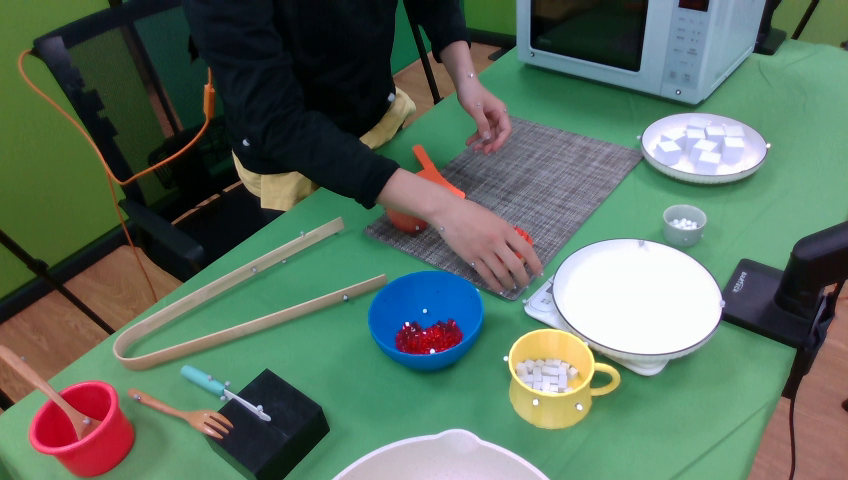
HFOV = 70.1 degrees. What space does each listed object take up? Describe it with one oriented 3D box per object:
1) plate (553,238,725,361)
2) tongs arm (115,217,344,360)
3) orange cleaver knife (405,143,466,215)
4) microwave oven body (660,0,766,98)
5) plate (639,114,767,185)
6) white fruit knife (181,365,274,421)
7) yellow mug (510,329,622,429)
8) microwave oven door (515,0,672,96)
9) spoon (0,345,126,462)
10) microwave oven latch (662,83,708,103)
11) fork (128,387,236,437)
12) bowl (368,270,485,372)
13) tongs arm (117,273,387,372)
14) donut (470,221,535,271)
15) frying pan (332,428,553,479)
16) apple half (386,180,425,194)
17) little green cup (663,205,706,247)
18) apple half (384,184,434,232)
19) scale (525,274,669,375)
[{"bbox_3d":[0.273,0.078,0.783,0.209,0.038,0.208,-4,41,4],"label":"plate"},{"bbox_3d":[-0.280,0.068,0.927,0.386,0.026,0.050,-29,49,-23],"label":"tongs arm"},{"bbox_3d":[0.005,-0.113,1.102,0.077,0.012,0.209,-23,45,-10],"label":"orange cleaver knife"},{"bbox_3d":[0.472,-0.513,1.317,0.438,0.261,0.327,26,51,34],"label":"microwave oven body"},{"bbox_3d":[0.489,-0.157,1.074,0.207,0.039,0.206,-4,40,4],"label":"plate"},{"bbox_3d":[-0.245,0.187,0.747,0.205,0.027,0.016,9,41,40],"label":"white fruit knife"},{"bbox_3d":[0.169,0.164,0.721,0.130,0.064,0.099,0,40,8],"label":"yellow mug"},{"bbox_3d":[0.344,-0.455,1.259,0.353,0.245,0.039,26,51,33],"label":"microwave oven door"},{"bbox_3d":[-0.434,0.192,0.720,0.194,0.021,0.042,47,53,-6],"label":"spoon"},{"bbox_3d":[0.517,-0.296,1.204,0.078,0.029,0.030,28,52,35],"label":"microwave oven latch"},{"bbox_3d":[-0.305,0.207,0.744,0.206,0.019,0.028,3,41,36],"label":"fork"},{"bbox_3d":[0.007,0.118,0.791,0.151,0.077,0.150,-4,40,4],"label":"bowl"},{"bbox_3d":[-0.236,0.116,0.870,0.389,0.028,0.028,-18,49,-12],"label":"tongs arm"},{"bbox_3d":[0.120,0.008,0.923,0.099,0.048,0.098,-4,39,4],"label":"donut"},{"bbox_3d":[-0.089,0.306,0.564,0.487,0.103,0.306,10,41,7],"label":"frying pan"},{"bbox_3d":[-0.028,-0.072,1.016,0.081,0.081,0.032,-10,45,-2],"label":"apple half"},{"bbox_3d":[0.396,-0.020,0.926,0.061,0.039,0.061,-4,40,4],"label":"little green cup"},{"bbox_3d":[-0.022,-0.046,0.987,0.081,0.075,0.053,-8,43,-6],"label":"apple half"},{"bbox_3d":[0.254,0.091,0.821,0.199,0.032,0.149,28,51,35],"label":"scale"}]
